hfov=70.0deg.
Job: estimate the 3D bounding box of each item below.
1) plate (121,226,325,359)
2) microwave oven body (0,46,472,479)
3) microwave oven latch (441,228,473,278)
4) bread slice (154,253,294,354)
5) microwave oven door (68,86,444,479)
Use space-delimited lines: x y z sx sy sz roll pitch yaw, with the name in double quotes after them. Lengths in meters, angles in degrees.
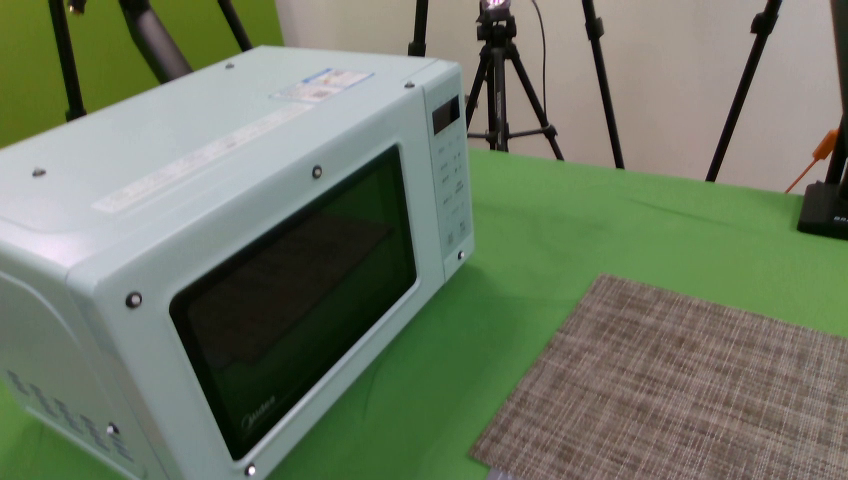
-0.205 0.055 0.639 0.209 0.038 0.207 -6 32 4 "plate"
-0.198 -0.008 0.640 0.323 0.262 0.440 14 38 30 "microwave oven body"
0.032 0.014 0.741 0.030 0.030 0.079 15 39 30 "microwave oven latch"
-0.208 0.057 0.644 0.104 0.019 0.131 22 46 37 "bread slice"
-0.097 0.037 0.536 0.039 0.246 0.355 13 37 30 "microwave oven door"
